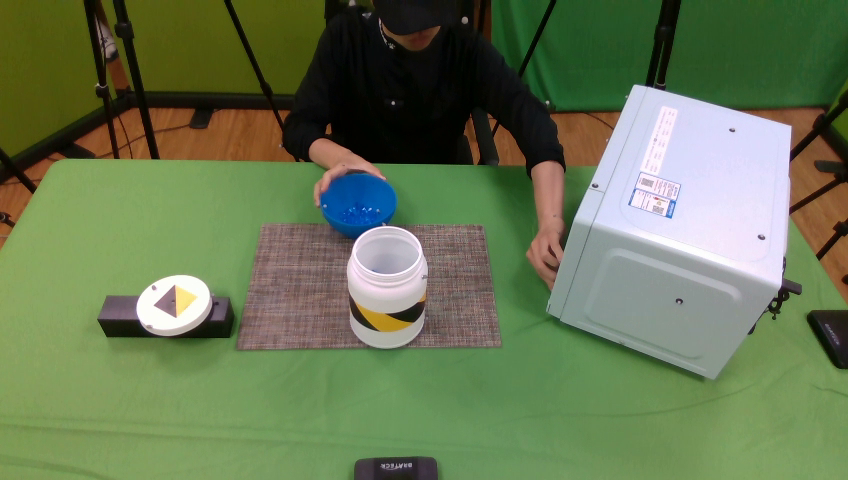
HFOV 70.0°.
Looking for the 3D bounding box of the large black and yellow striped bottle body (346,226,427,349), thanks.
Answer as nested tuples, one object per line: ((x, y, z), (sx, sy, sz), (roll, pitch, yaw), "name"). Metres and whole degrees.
((-0.062, 0.078, 0.998), (0.131, 0.185, 0.130), (2, 46, -2), "large black and yellow striped bottle body")

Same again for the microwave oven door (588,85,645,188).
((0.341, -0.108, 1.149), (0.039, 0.245, 0.354), (20, 48, 15), "microwave oven door")

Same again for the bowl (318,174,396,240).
((-0.130, -0.054, 1.195), (0.151, 0.077, 0.150), (3, 46, -2), "bowl")

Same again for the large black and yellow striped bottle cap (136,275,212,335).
((-0.411, 0.105, 0.999), (0.115, 0.019, 0.114), (3, 46, -3), "large black and yellow striped bottle cap")

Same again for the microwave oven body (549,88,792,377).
((0.456, -0.028, 1.088), (0.325, 0.261, 0.440), (20, 47, 16), "microwave oven body")

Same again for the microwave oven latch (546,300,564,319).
((0.243, 0.103, 1.080), (0.030, 0.029, 0.079), (23, 48, 19), "microwave oven latch")
